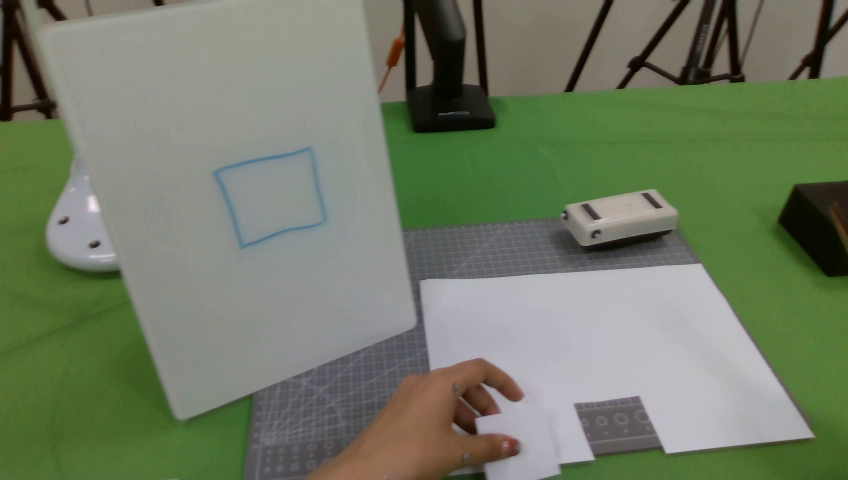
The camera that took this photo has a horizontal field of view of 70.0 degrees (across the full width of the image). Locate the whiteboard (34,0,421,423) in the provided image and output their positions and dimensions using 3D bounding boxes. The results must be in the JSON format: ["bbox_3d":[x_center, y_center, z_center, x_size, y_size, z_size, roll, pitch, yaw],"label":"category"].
[{"bbox_3d":[-0.150,-0.043,0.525,0.218,0.307,0.142,-19,24,-21],"label":"whiteboard"}]

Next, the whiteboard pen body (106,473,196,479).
[{"bbox_3d":[-0.235,0.178,0.426,0.141,0.017,0.017,-2,39,-7],"label":"whiteboard pen body"}]

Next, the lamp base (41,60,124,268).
[{"bbox_3d":[-0.338,-0.088,0.629,0.178,0.182,0.160,22,44,28],"label":"lamp base"}]

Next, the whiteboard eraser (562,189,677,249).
[{"bbox_3d":[0.214,-0.021,0.663,0.113,0.042,0.055,-10,42,-13],"label":"whiteboard eraser"}]

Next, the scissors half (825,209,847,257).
[{"bbox_3d":[0.317,0.050,0.414,0.013,0.040,0.173,-22,55,19],"label":"scissors half"}]

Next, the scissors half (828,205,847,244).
[{"bbox_3d":[0.326,0.056,0.433,0.013,0.040,0.174,-20,79,14],"label":"scissors half"}]
